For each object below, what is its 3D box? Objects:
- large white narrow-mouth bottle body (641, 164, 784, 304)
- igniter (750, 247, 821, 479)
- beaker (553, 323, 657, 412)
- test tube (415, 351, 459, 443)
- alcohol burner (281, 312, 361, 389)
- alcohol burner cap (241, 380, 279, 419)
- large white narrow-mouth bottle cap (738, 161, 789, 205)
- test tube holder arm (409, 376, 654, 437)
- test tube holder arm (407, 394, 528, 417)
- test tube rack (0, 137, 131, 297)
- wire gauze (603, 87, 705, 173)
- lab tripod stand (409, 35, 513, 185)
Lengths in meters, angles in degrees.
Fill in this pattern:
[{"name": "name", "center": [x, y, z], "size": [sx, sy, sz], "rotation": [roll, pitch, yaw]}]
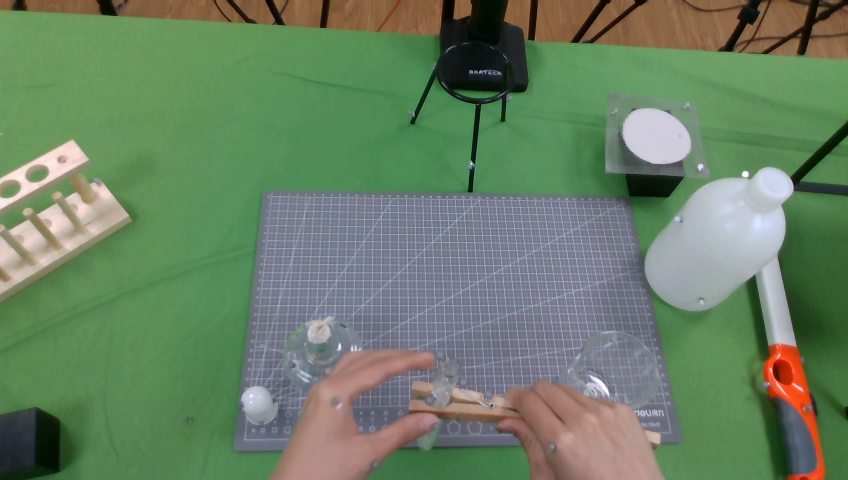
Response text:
[{"name": "large white narrow-mouth bottle body", "center": [0.308, -0.011, 0.635], "size": [0.102, 0.196, 0.101], "rotation": [2, 62, -3]}, {"name": "igniter", "center": [0.392, 0.120, 0.669], "size": [0.057, 0.025, 0.274], "rotation": [12, 61, -11]}, {"name": "beaker", "center": [0.170, 0.135, 0.597], "size": [0.084, 0.101, 0.073], "rotation": [-2, 62, -5]}, {"name": "test tube", "center": [0.007, 0.123, 0.456], "size": [0.017, 0.151, 0.017], "rotation": [4, 53, -5]}, {"name": "alcohol burner", "center": [-0.099, 0.100, 0.582], "size": [0.078, 0.120, 0.077], "rotation": [3, 61, -5]}, {"name": "alcohol burner cap", "center": [-0.161, 0.154, 0.588], "size": [0.034, 0.048, 0.033], "rotation": [2, 64, -3]}, {"name": "large white narrow-mouth bottle cap", "center": [0.313, -0.053, 0.561], "size": [0.038, 0.024, 0.037], "rotation": [2, 62, -3]}, {"name": "test tube holder arm", "center": [0.077, 0.121, 0.442], "size": [0.178, 0.015, 0.013], "rotation": [9, 57, 4]}, {"name": "test tube holder arm", "center": [0.031, 0.121, 0.441], "size": [0.088, 0.015, 0.010], "rotation": [2, 56, 0]}, {"name": "test tube rack", "center": [-0.442, 0.001, 0.621], "size": [0.242, 0.086, 0.066], "rotation": [-38, 71, -22]}, {"name": "wire gauze", "center": [0.280, -0.135, 0.748], "size": [0.121, 0.011, 0.124], "rotation": [7, 62, -1]}, {"name": "lab tripod stand", "center": [0.052, -0.161, 0.725], "size": [0.148, 0.132, 0.147], "rotation": [3, 63, -5]}]
